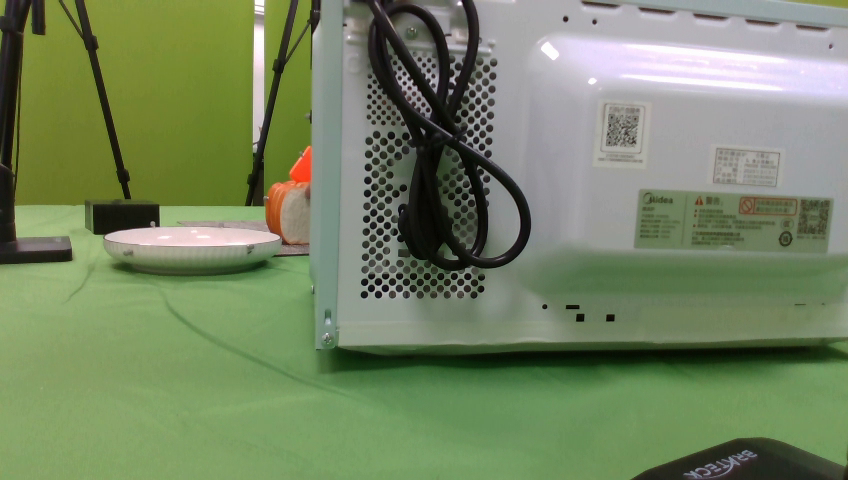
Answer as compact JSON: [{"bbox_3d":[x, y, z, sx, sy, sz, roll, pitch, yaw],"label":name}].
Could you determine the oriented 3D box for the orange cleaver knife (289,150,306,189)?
[{"bbox_3d":[-0.140,-0.095,1.034,0.012,0.077,0.212,24,1,42],"label":"orange cleaver knife"}]

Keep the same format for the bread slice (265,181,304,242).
[{"bbox_3d":[-0.198,-0.050,0.998,0.135,0.107,0.018,-3,10,-42],"label":"bread slice"}]

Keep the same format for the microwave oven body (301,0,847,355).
[{"bbox_3d":[0.120,-0.053,0.535,0.443,0.260,0.325,2,7,-11],"label":"microwave oven body"}]

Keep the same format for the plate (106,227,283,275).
[{"bbox_3d":[-0.288,0.013,0.772,0.208,0.039,0.207,2,7,0],"label":"plate"}]

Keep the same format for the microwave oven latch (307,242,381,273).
[{"bbox_3d":[-0.086,0.019,0.656,0.079,0.029,0.030,2,7,-10],"label":"microwave oven latch"}]

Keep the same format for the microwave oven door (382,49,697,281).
[{"bbox_3d":[0.135,-0.077,0.685,0.357,0.243,0.039,1,8,-12],"label":"microwave oven door"}]
